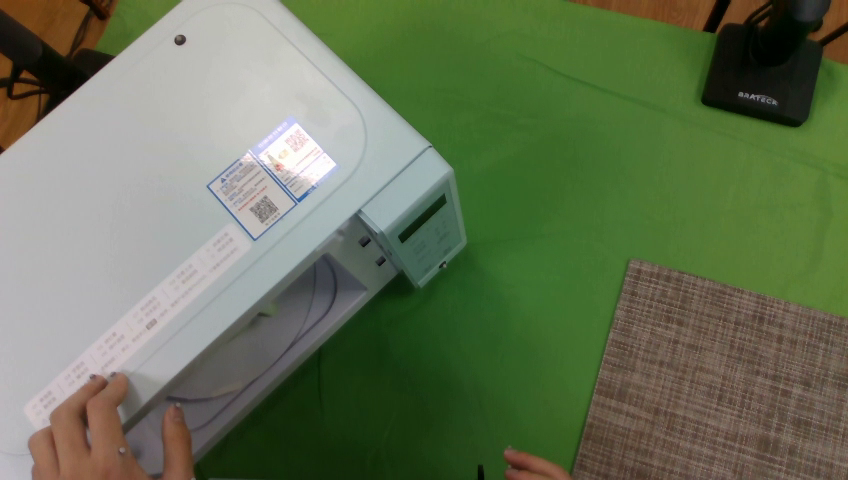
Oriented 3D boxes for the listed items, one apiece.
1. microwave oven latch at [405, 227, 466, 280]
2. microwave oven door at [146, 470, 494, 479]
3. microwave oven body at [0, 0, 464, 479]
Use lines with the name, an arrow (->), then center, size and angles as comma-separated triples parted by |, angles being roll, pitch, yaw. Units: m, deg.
microwave oven latch -> 0.013, 0.008, 0.693 | 0.079, 0.029, 0.030 | -42, 75, -4
microwave oven door -> -0.116, 0.242, 0.542 | 0.355, 0.245, 0.039 | -1, 75, 6
microwave oven body -> -0.228, 0.004, 0.621 | 0.441, 0.261, 0.324 | -44, 76, -5
